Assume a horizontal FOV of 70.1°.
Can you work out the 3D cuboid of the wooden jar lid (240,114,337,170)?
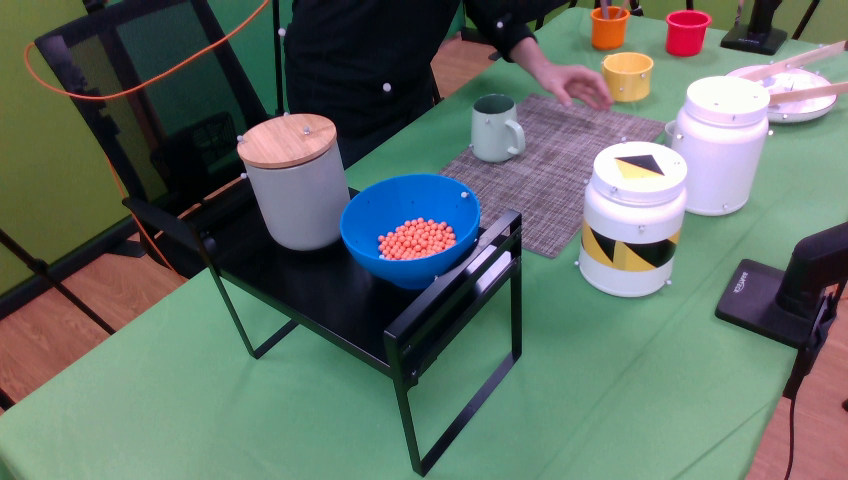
[{"bbox_3d":[-0.149,-0.106,0.673,0.108,0.021,0.108,-6,38,5],"label":"wooden jar lid"}]

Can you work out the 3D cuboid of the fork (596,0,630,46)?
[{"bbox_3d":[0.481,-0.556,1.452,0.028,0.019,0.207,41,103,39],"label":"fork"}]

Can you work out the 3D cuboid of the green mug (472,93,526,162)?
[{"bbox_3d":[0.144,-0.202,1.122,0.093,0.105,0.124,-29,45,-23],"label":"green mug"}]

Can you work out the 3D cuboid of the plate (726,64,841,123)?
[{"bbox_3d":[0.695,-0.282,1.189,0.207,0.039,0.206,-4,40,4],"label":"plate"}]

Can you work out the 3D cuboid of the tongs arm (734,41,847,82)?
[{"bbox_3d":[0.712,-0.332,1.194,0.386,0.026,0.050,-18,45,-16],"label":"tongs arm"}]

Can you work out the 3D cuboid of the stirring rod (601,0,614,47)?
[{"bbox_3d":[0.439,-0.552,1.463,0.014,0.006,0.175,-7,83,3],"label":"stirring rod"}]

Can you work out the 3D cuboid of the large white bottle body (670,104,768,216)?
[{"bbox_3d":[0.458,-0.146,0.952,0.130,0.185,0.130,-4,40,4],"label":"large white bottle body"}]

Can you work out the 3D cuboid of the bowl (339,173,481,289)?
[{"bbox_3d":[-0.011,0.001,0.660,0.151,0.077,0.150,-5,40,5],"label":"bowl"}]

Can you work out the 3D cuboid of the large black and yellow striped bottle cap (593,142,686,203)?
[{"bbox_3d":[0.280,-0.090,0.786,0.115,0.019,0.114,-5,41,5],"label":"large black and yellow striped bottle cap"}]

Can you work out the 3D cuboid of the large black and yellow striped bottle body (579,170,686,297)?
[{"bbox_3d":[0.287,-0.027,0.841,0.131,0.185,0.130,-4,40,4],"label":"large black and yellow striped bottle body"}]

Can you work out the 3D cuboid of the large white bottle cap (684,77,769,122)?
[{"bbox_3d":[0.448,-0.209,0.898,0.115,0.018,0.114,-4,40,4],"label":"large white bottle cap"}]

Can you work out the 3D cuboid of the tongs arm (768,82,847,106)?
[{"bbox_3d":[0.738,-0.282,1.134,0.388,0.028,0.028,-9,46,-5],"label":"tongs arm"}]

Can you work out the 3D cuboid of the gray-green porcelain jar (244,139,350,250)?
[{"bbox_3d":[-0.144,-0.060,0.714,0.106,0.127,0.105,-4,41,4],"label":"gray-green porcelain jar"}]

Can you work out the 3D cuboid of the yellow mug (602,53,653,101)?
[{"bbox_3d":[0.423,-0.354,1.292,0.100,0.064,0.129,-23,42,-16],"label":"yellow mug"}]

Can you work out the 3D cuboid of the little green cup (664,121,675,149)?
[{"bbox_3d":[0.472,-0.188,1.113,0.061,0.039,0.061,-5,40,4],"label":"little green cup"}]
